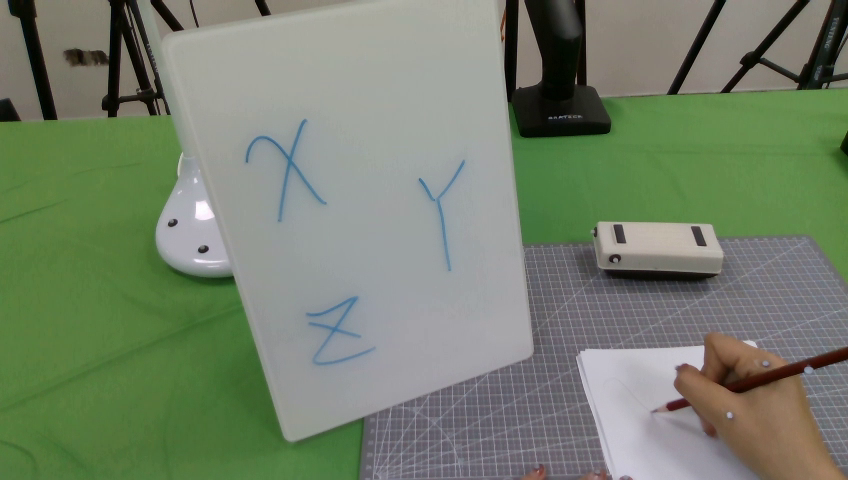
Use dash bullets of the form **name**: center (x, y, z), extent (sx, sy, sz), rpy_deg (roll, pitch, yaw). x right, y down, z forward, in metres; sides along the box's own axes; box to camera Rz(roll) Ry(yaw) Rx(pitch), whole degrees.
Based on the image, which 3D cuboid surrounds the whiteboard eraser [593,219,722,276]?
- **whiteboard eraser**: center (0.225, 0.008, 0.591), extent (0.112, 0.042, 0.055), rpy_deg (2, 42, 6)

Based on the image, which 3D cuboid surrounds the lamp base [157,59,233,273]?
- **lamp base**: center (-0.220, -0.084, 0.618), extent (0.177, 0.182, 0.160), rpy_deg (27, 49, 33)

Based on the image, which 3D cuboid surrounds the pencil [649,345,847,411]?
- **pencil**: center (0.222, 0.091, 0.401), extent (0.012, 0.194, 0.012), rpy_deg (14, 58, -24)

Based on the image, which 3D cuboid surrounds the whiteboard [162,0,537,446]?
- **whiteboard**: center (-0.049, -0.030, 0.495), extent (0.217, 0.307, 0.142), rpy_deg (-16, 23, -14)
